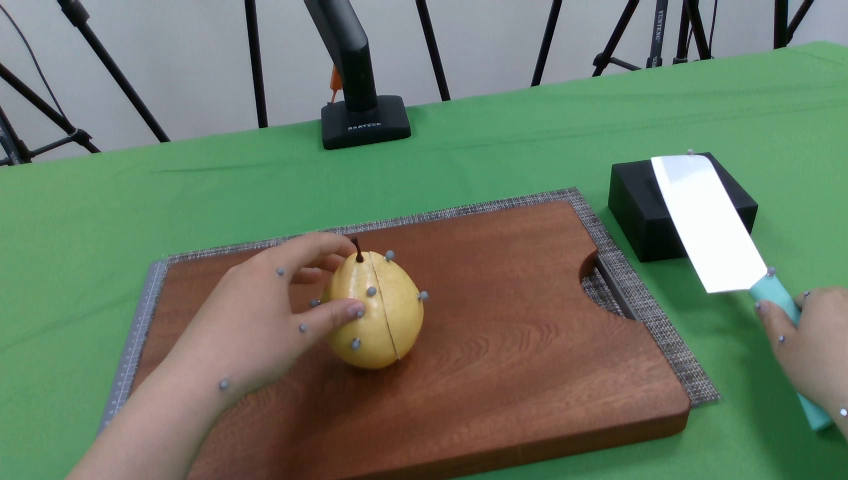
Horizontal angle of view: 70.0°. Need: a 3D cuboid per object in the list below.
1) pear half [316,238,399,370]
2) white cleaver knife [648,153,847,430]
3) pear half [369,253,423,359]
[{"bbox_3d":[-0.054,0.045,0.444,0.056,0.111,0.075,-15,34,-9],"label":"pear half"},{"bbox_3d":[0.255,0.023,0.503,0.066,0.022,0.283,-9,48,3],"label":"white cleaver knife"},{"bbox_3d":[-0.018,0.045,0.454,0.031,0.089,0.069,-15,30,-10],"label":"pear half"}]
